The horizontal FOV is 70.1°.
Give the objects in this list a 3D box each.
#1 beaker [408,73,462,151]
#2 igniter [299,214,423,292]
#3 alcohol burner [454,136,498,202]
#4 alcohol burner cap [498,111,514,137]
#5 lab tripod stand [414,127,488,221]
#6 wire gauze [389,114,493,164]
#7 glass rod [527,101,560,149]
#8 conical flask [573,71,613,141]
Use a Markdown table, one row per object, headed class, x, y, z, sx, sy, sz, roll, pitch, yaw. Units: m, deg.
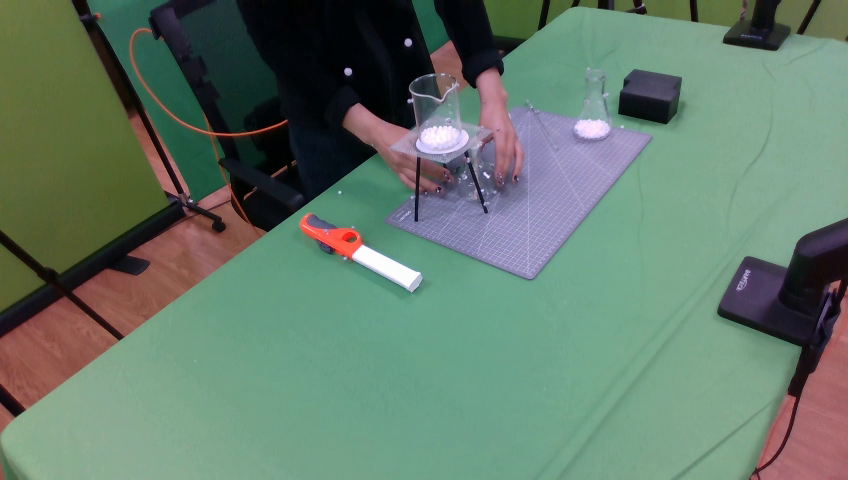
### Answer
| class | x | y | z | sx | sy | sz | roll | pitch | yaw |
| --- | --- | --- | --- | --- | --- | --- | --- | --- | --- |
| beaker | 0.021 | -0.196 | 0.943 | 0.074 | 0.101 | 0.083 | -17 | 40 | -7 |
| igniter | -0.112 | 0.016 | 0.983 | 0.274 | 0.025 | 0.057 | 26 | 62 | 35 |
| alcohol burner | 0.089 | -0.126 | 1.041 | 0.078 | 0.119 | 0.077 | -4 | 39 | 4 |
| alcohol burner cap | 0.163 | -0.235 | 1.211 | 0.034 | 0.048 | 0.033 | -6 | 40 | 6 |
| lab tripod stand | 0.035 | -0.114 | 1.021 | 0.148 | 0.132 | 0.147 | -7 | 39 | 6 |
| wire gauze | 0.027 | -0.163 | 0.978 | 0.120 | 0.011 | 0.125 | 22 | 50 | 36 |
| glass rod | 0.240 | -0.236 | 1.223 | 0.008 | 0.008 | 0.198 | -12 | 40 | -2 |
| conical flask | 0.321 | -0.256 | 1.142 | 0.075 | 0.122 | 0.075 | -5 | 40 | 5 |
